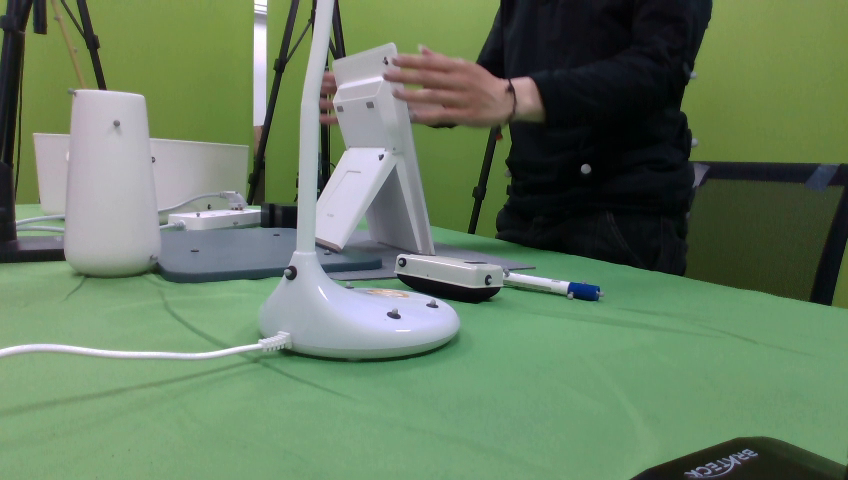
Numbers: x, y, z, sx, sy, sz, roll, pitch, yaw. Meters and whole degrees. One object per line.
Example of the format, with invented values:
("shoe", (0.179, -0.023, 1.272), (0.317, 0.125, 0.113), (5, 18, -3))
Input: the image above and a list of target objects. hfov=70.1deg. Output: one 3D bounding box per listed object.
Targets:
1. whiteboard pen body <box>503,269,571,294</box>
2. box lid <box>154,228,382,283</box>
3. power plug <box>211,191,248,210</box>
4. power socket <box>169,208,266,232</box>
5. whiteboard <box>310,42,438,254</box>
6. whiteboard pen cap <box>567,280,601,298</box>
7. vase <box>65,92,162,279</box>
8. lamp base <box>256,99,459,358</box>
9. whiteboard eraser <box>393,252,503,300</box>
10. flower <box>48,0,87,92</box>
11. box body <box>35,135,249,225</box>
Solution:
("whiteboard pen body", (0.123, 0.046, 0.679), (0.140, 0.017, 0.017), (8, 9, 30))
("box lid", (-0.250, 0.014, 0.853), (0.265, 0.015, 0.369), (-3, 9, -32))
("power plug", (-0.384, -0.071, 1.206), (0.072, 0.052, 0.035), (1, 7, 27))
("power socket", (-0.379, -0.038, 1.129), (0.072, 0.032, 0.227), (4, 8, 18))
("whiteboard", (-0.121, -0.112, 0.890), (0.144, 0.305, 0.216), (-19, 17, -26))
("whiteboard pen cap", (0.171, 0.052, 0.648), (0.033, 0.018, 0.018), (10, 10, 30))
("vase", (-0.347, -0.060, 0.673), (0.098, 0.200, 0.098), (0, 7, 0))
("lamp base", (-0.055, -0.013, 0.463), (0.160, 0.180, 0.180), (6, 11, 27))
("whiteboard eraser", (0.024, 0.037, 0.637), (0.112, 0.042, 0.056), (8, 7, 42))
("flower", (-0.361, -0.141, 0.658), (0.038, 0.361, 0.044), (-13, 11, 11))
("box body", (-0.561, -0.127, 1.258), (0.254, 0.160, 0.365), (4, 8, 13))
